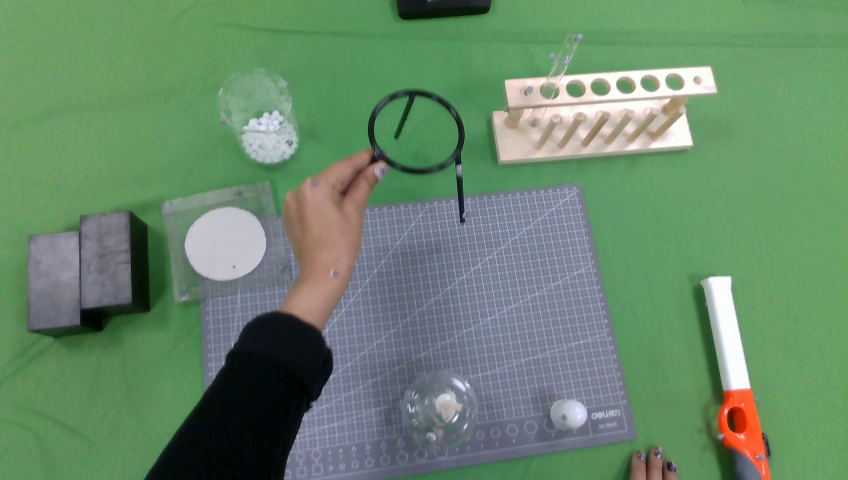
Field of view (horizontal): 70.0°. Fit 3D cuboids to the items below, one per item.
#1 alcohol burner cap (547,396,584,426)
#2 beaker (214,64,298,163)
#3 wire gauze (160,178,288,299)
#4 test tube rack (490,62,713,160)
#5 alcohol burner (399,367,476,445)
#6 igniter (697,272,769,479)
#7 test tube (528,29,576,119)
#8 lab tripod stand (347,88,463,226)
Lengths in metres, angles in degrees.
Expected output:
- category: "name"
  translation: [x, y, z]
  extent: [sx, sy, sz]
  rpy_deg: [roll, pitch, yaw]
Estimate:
- category: "alcohol burner cap"
  translation: [0.153, 0.181, 0.641]
  extent: [0.034, 0.048, 0.033]
  rpy_deg: [1, 74, -3]
- category: "beaker"
  translation: [-0.178, -0.133, 0.670]
  extent: [0.074, 0.100, 0.083]
  rpy_deg: [-37, 81, -13]
- category: "wire gauze"
  translation: [-0.224, -0.003, 0.675]
  extent: [0.125, 0.011, 0.121]
  rpy_deg: [-12, 75, -7]
- category: "test tube rack"
  translation: [0.207, -0.150, 0.715]
  extent: [0.243, 0.085, 0.066]
  rpy_deg: [-5, 75, -6]
- category: "alcohol burner"
  translation: [0.015, 0.162, 0.598]
  extent: [0.078, 0.119, 0.077]
  rpy_deg: [2, 72, -5]
- category: "igniter"
  translation: [0.343, 0.171, 0.671]
  extent: [0.057, 0.025, 0.275]
  rpy_deg: [0, 75, -15]
- category: "test tube"
  translation: [0.137, -0.176, 0.665]
  extent: [0.017, 0.151, 0.017]
  rpy_deg: [1, 70, -4]
- category: "lab tripod stand"
  translation: [-0.018, -0.081, 0.611]
  extent: [0.148, 0.132, 0.147]
  rpy_deg: [2, 67, -5]
